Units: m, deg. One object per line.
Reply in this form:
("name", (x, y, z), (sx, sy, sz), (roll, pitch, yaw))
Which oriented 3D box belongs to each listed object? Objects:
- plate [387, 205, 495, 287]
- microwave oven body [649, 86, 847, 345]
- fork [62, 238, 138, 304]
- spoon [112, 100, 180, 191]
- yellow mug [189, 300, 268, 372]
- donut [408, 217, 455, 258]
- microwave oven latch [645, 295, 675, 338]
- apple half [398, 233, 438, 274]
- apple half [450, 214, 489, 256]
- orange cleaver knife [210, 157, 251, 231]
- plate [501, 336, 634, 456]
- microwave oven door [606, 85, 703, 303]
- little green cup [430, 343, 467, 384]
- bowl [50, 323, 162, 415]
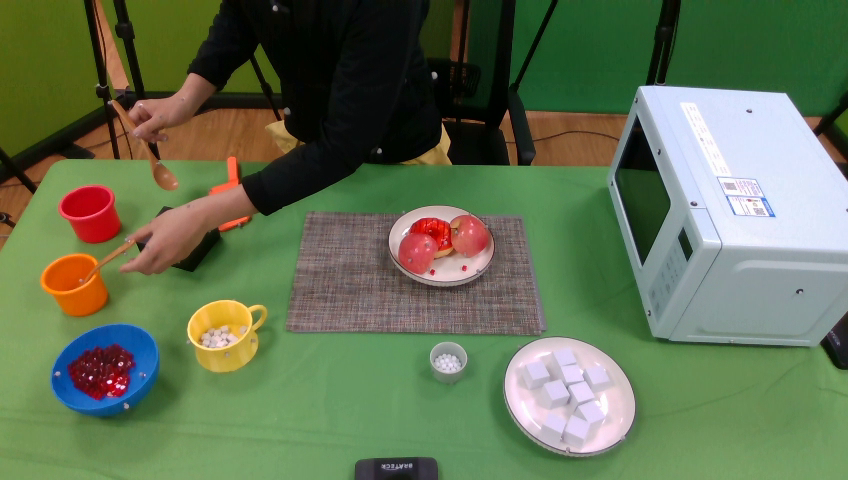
("plate", (0.033, 0.014, 1.171), (0.209, 0.038, 0.208), (2, 46, -2))
("microwave oven body", (0.568, -0.053, 1.118), (0.326, 0.261, 0.439), (2, 45, -1))
("fork", (-0.547, 0.053, 1.018), (0.207, 0.019, 0.028), (-36, 41, 23))
("spoon", (-0.524, -0.177, 1.144), (0.021, 0.194, 0.041), (-12, 22, 41))
("yellow mug", (-0.316, 0.149, 1.002), (0.131, 0.064, 0.099), (-32, 55, -31))
("donut", (0.019, -0.006, 1.174), (0.099, 0.048, 0.098), (4, 42, -3))
("microwave oven latch", (0.412, 0.134, 1.061), (0.030, 0.029, 0.078), (3, 45, 0))
("apple half", (-0.016, 0.022, 1.123), (0.081, 0.033, 0.081), (-2, 83, 14))
("apple half", (0.092, -0.013, 1.158), (0.075, 0.053, 0.080), (34, 39, -28))
("orange cleaver knife", (-0.408, -0.099, 1.266), (0.077, 0.012, 0.210), (-14, 50, -8))
("plate", (0.225, 0.248, 0.964), (0.208, 0.039, 0.206), (2, 46, -2))
("microwave oven door", (0.423, -0.094, 1.140), (0.039, 0.245, 0.353), (2, 46, -1))
("little green cup", (0.039, 0.203, 0.993), (0.061, 0.039, 0.061), (2, 46, -2))
("bowl", (-0.472, 0.209, 0.924), (0.151, 0.077, 0.150), (3, 45, -2))
